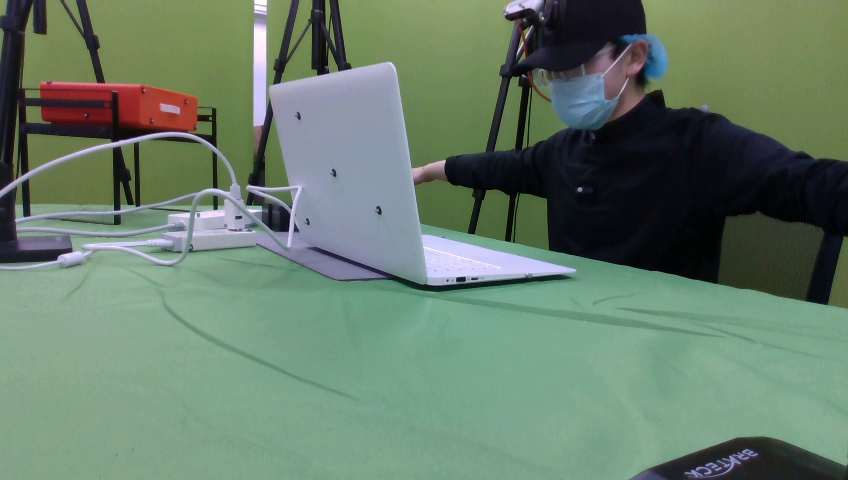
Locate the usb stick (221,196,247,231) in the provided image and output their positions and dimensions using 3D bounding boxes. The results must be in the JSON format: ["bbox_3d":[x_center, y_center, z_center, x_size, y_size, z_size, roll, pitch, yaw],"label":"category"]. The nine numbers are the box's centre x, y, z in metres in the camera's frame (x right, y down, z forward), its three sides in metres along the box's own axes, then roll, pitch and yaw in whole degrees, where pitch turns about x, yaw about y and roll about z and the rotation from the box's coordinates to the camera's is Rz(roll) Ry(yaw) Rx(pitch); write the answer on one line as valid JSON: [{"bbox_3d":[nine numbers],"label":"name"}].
[{"bbox_3d":[-0.290,-0.035,0.920,0.027,0.059,0.021,14,4,32],"label":"usb stick"}]

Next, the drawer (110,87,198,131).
[{"bbox_3d":[-0.602,-0.263,1.225,0.211,0.073,0.195,3,8,10],"label":"drawer"}]

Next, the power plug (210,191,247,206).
[{"bbox_3d":[-0.386,-0.071,1.204,0.072,0.052,0.035,8,11,26],"label":"power plug"}]

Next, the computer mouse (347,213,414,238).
[{"bbox_3d":[-0.079,-0.025,1.080,0.117,0.041,0.062,-5,11,-18],"label":"computer mouse"}]

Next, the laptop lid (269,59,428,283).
[{"bbox_3d":[-0.110,-0.087,0.752,0.013,0.241,0.355,-18,19,-30],"label":"laptop lid"}]

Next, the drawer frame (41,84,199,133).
[{"bbox_3d":[-0.604,-0.264,1.225,0.213,0.082,0.202,3,8,8],"label":"drawer frame"}]

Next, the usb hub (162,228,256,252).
[{"bbox_3d":[-0.315,0.000,0.893,0.049,0.025,0.126,8,10,41],"label":"usb hub"}]

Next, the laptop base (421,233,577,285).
[{"bbox_3d":[0.007,0.022,0.850,0.237,0.023,0.352,1,7,-34],"label":"laptop base"}]

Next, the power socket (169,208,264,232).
[{"bbox_3d":[-0.381,-0.038,1.128,0.072,0.032,0.227,4,8,17],"label":"power socket"}]
